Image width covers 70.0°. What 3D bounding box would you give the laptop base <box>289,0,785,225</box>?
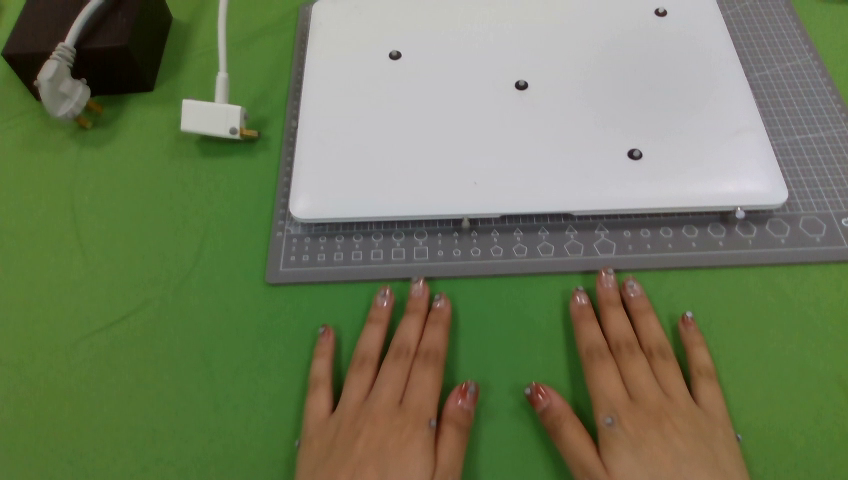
[{"bbox_3d":[0.078,-0.113,0.490,0.354,0.023,0.233,-2,61,1],"label":"laptop base"}]

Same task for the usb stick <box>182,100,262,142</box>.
[{"bbox_3d":[-0.157,-0.092,0.478,0.059,0.021,0.027,10,95,-5],"label":"usb stick"}]

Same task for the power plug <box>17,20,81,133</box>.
[{"bbox_3d":[-0.297,-0.121,0.463,0.035,0.073,0.052,-1,43,41],"label":"power plug"}]

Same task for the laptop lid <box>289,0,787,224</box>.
[{"bbox_3d":[0.077,-0.118,0.479,0.357,0.013,0.239,0,60,2],"label":"laptop lid"}]
